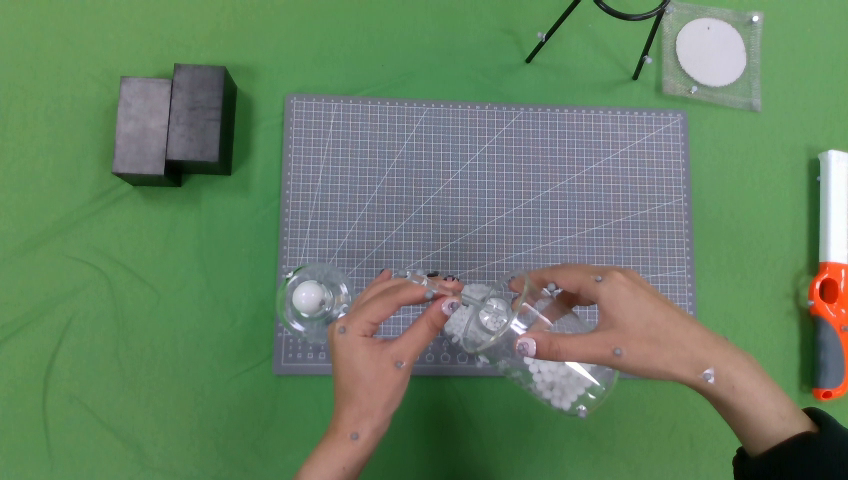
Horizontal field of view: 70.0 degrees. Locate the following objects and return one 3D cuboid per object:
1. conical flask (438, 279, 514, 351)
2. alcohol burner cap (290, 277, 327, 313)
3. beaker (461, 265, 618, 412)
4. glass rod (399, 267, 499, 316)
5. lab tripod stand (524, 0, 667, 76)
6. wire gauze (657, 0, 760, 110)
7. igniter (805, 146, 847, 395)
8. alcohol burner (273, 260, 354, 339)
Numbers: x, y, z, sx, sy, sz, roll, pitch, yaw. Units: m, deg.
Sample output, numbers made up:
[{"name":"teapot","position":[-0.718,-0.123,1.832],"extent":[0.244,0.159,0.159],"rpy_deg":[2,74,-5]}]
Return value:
[{"name":"conical flask","position":[0.056,0.071,0.583],"extent":[0.075,0.122,0.075],"rpy_deg":[1,81,-4]},{"name":"alcohol burner cap","position":[-0.104,0.049,0.540],"extent":[0.034,0.048,0.034],"rpy_deg":[1,85,-7]},{"name":"beaker","position":[0.088,0.077,0.460],"extent":[0.101,0.083,0.074],"rpy_deg":[37,85,-12]},{"name":"glass rod","position":[0.026,0.043,0.468],"extent":[0.008,0.201,0.008],"rpy_deg":[-6,74,23]},{"name":"lab tripod stand","position":[0.185,-0.240,0.632],"extent":[0.148,0.131,0.148],"rpy_deg":[0,84,-4]},{"name":"wire gauze","position":[0.331,-0.219,0.704],"extent":[0.125,0.011,0.121],"rpy_deg":[7,82,-5]},{"name":"igniter","position":[0.447,0.032,0.669],"extent":[0.057,0.025,0.275],"rpy_deg":[9,82,-14]},{"name":"alcohol burner","position":[-0.107,0.055,0.576],"extent":[0.078,0.119,0.077],"rpy_deg":[0,81,-2]}]
